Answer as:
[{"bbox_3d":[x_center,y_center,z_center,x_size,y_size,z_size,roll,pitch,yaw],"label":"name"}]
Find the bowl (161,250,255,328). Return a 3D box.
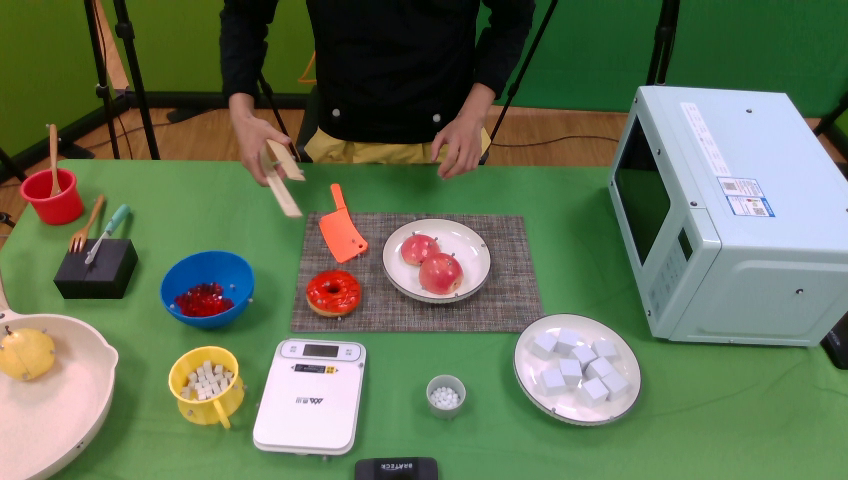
[{"bbox_3d":[-0.362,0.098,1.040,0.151,0.077,0.150,2,45,-2],"label":"bowl"}]

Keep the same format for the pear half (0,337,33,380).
[{"bbox_3d":[-0.631,0.184,0.921,0.070,0.088,0.031,29,49,19],"label":"pear half"}]

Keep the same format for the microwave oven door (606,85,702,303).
[{"bbox_3d":[0.423,-0.094,1.140,0.039,0.245,0.353,2,46,-1],"label":"microwave oven door"}]

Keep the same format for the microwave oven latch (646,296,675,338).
[{"bbox_3d":[0.412,0.134,1.061,0.030,0.029,0.078,4,45,1],"label":"microwave oven latch"}]

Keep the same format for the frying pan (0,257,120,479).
[{"bbox_3d":[-0.647,0.164,0.936,0.307,0.103,0.485,-19,58,-22],"label":"frying pan"}]

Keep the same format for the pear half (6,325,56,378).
[{"bbox_3d":[-0.608,0.158,0.935,0.076,0.110,0.056,31,51,20],"label":"pear half"}]

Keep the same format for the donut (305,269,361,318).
[{"bbox_3d":[-0.160,0.094,1.075,0.099,0.048,0.098,3,45,-3],"label":"donut"}]

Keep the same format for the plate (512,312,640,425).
[{"bbox_3d":[0.246,0.213,0.999,0.208,0.039,0.206,2,46,-2],"label":"plate"}]

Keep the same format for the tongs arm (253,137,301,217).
[{"bbox_3d":[-0.277,-0.123,1.117,0.028,0.028,0.385,-6,27,-21],"label":"tongs arm"}]

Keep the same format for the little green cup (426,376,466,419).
[{"bbox_3d":[0.033,0.248,0.950,0.061,0.039,0.061,2,46,-2],"label":"little green cup"}]

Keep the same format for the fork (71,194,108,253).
[{"bbox_3d":[-0.634,-0.036,1.158,0.028,0.019,0.206,-9,32,-7],"label":"fork"}]

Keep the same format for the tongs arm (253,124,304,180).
[{"bbox_3d":[-0.272,-0.157,1.103,0.026,0.051,0.382,-3,26,-23],"label":"tongs arm"}]

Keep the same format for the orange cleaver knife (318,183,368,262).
[{"bbox_3d":[-0.173,-0.038,1.218,0.077,0.012,0.210,-16,51,-12],"label":"orange cleaver knife"}]

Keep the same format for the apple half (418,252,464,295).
[{"bbox_3d":[0.033,0.055,1.109,0.081,0.053,0.074,-31,58,-28],"label":"apple half"}]

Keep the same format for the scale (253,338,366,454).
[{"bbox_3d":[-0.175,0.236,0.951,0.149,0.032,0.199,5,45,-1],"label":"scale"}]

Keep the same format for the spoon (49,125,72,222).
[{"bbox_3d":[-0.718,-0.131,1.189,0.041,0.021,0.193,-4,90,-7],"label":"spoon"}]

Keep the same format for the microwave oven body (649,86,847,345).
[{"bbox_3d":[0.567,-0.053,1.118,0.326,0.261,0.439,2,45,-1],"label":"microwave oven body"}]

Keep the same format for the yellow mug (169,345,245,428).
[{"bbox_3d":[-0.322,0.230,0.922,0.100,0.064,0.130,-24,53,-25],"label":"yellow mug"}]

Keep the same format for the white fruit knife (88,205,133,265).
[{"bbox_3d":[-0.584,-0.013,1.129,0.016,0.027,0.206,0,32,-5],"label":"white fruit knife"}]

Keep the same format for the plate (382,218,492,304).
[{"bbox_3d":[0.023,0.042,1.143,0.209,0.038,0.208,2,46,-2],"label":"plate"}]

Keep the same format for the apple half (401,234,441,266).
[{"bbox_3d":[-0.005,0.014,1.159,0.081,0.033,0.081,4,44,-4],"label":"apple half"}]
